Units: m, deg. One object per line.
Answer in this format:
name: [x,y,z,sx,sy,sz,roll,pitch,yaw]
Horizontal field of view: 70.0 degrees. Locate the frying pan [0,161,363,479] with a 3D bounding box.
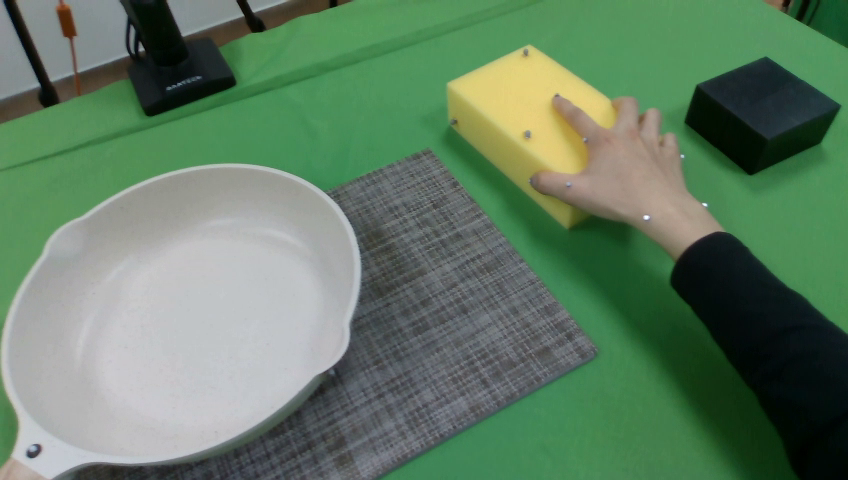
frying pan: [-0.242,0.118,0.460,0.305,0.103,0.486,19,47,20]

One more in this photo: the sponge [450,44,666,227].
sponge: [0.134,-0.120,0.648,0.118,0.061,0.204,-29,55,-18]
